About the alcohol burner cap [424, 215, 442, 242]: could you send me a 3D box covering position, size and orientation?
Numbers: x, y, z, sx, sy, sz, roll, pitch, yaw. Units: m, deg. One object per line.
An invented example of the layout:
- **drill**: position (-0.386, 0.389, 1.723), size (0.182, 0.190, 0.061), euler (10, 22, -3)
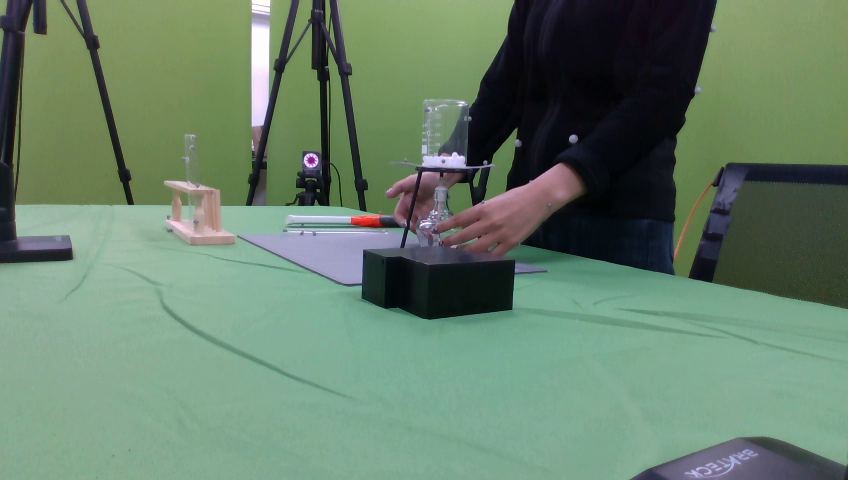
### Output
- **alcohol burner cap**: position (0.017, -0.022, 1.098), size (0.034, 0.048, 0.034), euler (2, 8, 0)

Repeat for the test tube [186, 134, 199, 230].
- **test tube**: position (-0.360, -0.089, 0.946), size (0.017, 0.150, 0.017), euler (0, 10, 0)

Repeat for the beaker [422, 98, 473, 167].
- **beaker**: position (0.031, -0.162, 0.919), size (0.074, 0.100, 0.083), euler (-4, 10, -36)

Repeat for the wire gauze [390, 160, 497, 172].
- **wire gauze**: position (0.027, -0.114, 0.920), size (0.122, 0.011, 0.124), euler (-5, 13, -34)

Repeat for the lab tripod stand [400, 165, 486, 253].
- **lab tripod stand**: position (0.027, -0.049, 0.930), size (0.148, 0.131, 0.148), euler (2, 9, 0)

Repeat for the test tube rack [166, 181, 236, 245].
- **test tube rack**: position (-0.383, -0.051, 1.024), size (0.067, 0.085, 0.241), euler (-2, 9, -31)

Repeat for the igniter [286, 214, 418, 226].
- **igniter**: position (-0.146, -0.043, 1.263), size (0.278, 0.025, 0.057), euler (-1, -2, -25)

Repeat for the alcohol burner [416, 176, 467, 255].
- **alcohol burner**: position (0.026, -0.038, 0.916), size (0.078, 0.119, 0.078), euler (-1, 7, 1)

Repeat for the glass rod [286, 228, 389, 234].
- **glass rod**: position (-0.154, -0.016, 1.101), size (0.201, 0.008, 0.008), euler (1, 7, -31)
